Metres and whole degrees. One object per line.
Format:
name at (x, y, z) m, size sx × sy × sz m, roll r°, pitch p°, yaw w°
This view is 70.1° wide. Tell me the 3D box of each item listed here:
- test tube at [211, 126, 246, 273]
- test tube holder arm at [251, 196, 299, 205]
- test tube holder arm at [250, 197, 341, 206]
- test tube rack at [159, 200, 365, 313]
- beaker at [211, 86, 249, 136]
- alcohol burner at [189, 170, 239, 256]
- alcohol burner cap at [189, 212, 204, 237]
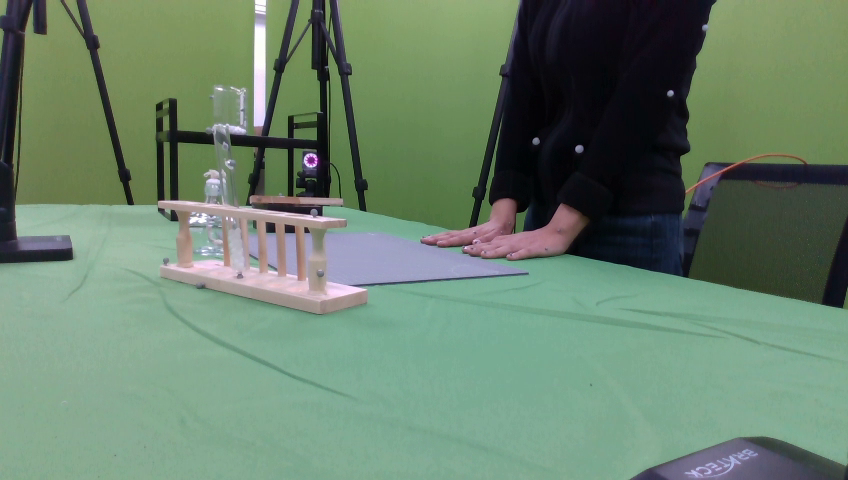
test tube at (-0.198, -0.040, 0.614) m, size 0.017 × 0.150 × 0.017 m, roll -5°, pitch 7°, yaw 1°
test tube holder arm at (-0.275, -0.073, 1.120) m, size 0.088 × 0.015 × 0.010 m, roll -1°, pitch 6°, yaw -34°
test tube holder arm at (-0.241, -0.074, 1.150) m, size 0.179 × 0.015 × 0.013 m, roll -1°, pitch 6°, yaw -35°
test tube rack at (-0.173, 0.009, 0.625) m, size 0.241 × 0.085 × 0.067 m, roll 7°, pitch 9°, yaw 34°
beaker at (-0.413, -0.274, 1.297) m, size 0.074 × 0.100 × 0.083 m, roll -5°, pitch 11°, yaw -44°
alcohol burner at (-0.296, -0.038, 0.851) m, size 0.078 × 0.119 × 0.078 m, roll 2°, pitch 5°, yaw 0°
alcohol burner cap at (-0.389, -0.029, 1.026) m, size 0.034 × 0.048 × 0.034 m, roll 3°, pitch 9°, yaw 0°
